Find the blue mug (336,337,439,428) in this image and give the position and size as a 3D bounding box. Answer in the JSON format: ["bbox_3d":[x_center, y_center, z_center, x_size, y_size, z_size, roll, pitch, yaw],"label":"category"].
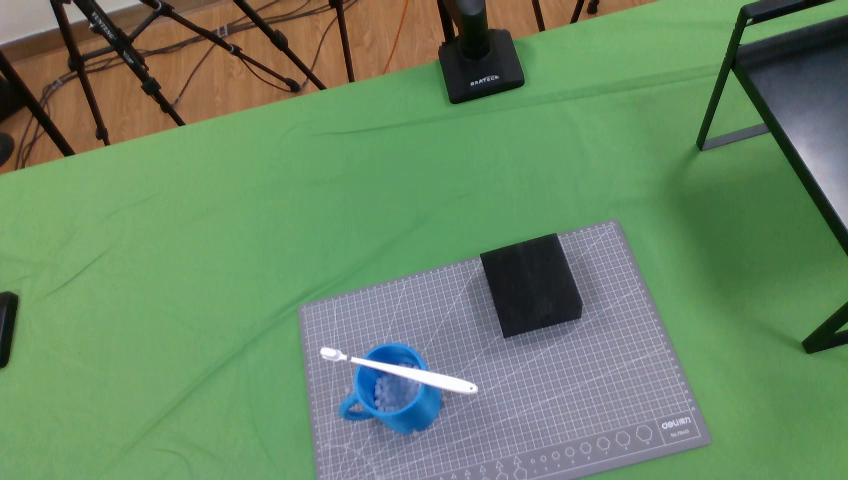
[{"bbox_3d":[-0.046,0.175,0.704,0.116,0.107,0.081,-24,62,-1],"label":"blue mug"}]

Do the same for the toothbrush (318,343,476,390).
[{"bbox_3d":[-0.033,0.135,0.654,0.181,0.017,0.014,11,62,16],"label":"toothbrush"}]
